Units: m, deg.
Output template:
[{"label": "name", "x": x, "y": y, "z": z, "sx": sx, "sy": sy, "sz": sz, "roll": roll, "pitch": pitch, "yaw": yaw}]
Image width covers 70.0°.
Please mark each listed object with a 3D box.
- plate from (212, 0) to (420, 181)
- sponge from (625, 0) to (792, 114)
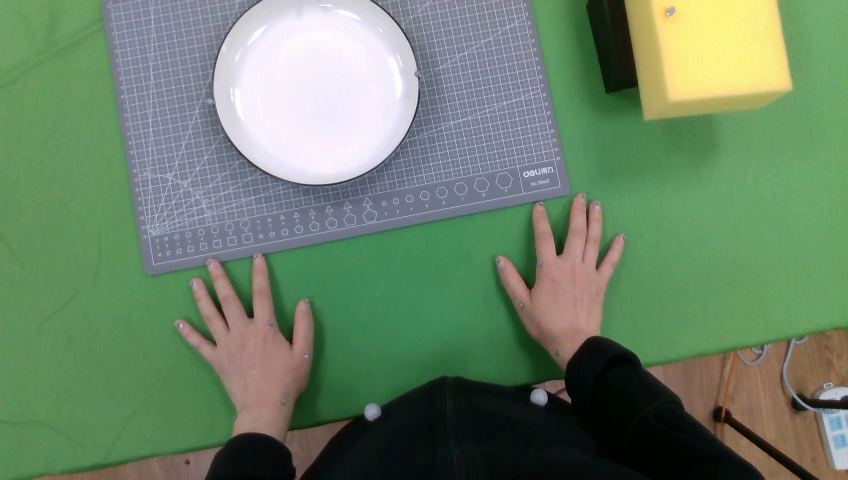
[{"label": "plate", "x": -0.108, "y": -0.161, "z": 0.624, "sx": 0.209, "sy": 0.038, "sz": 0.208, "roll": 0, "pitch": 86, "yaw": -2}, {"label": "sponge", "x": 0.262, "y": -0.233, "z": 0.580, "sx": 0.118, "sy": 0.061, "sz": 0.206, "roll": -8, "pitch": 86, "yaw": -2}]
